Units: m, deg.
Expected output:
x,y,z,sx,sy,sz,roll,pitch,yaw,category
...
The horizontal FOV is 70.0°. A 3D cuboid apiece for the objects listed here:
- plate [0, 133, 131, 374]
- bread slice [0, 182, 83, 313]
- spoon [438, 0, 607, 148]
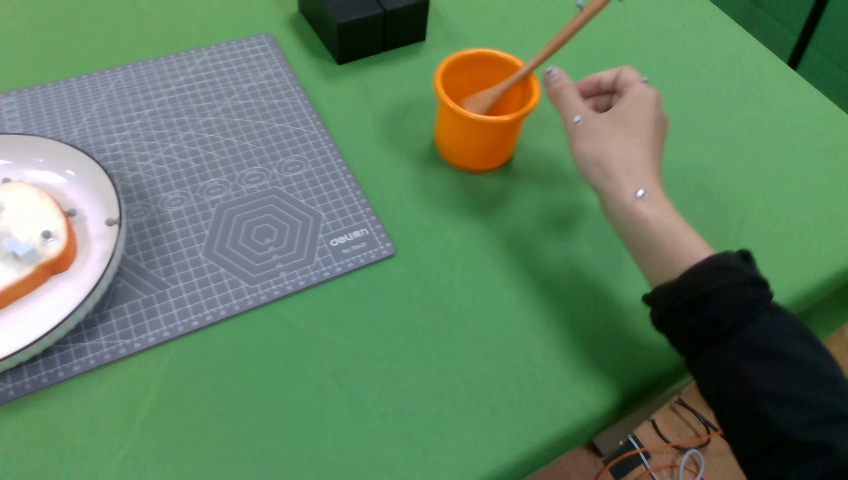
x,y,z,sx,sy,sz,roll,pitch,yaw,category
-0.317,0.011,0.432,0.209,0.038,0.207,4,56,-5,plate
-0.322,0.009,0.436,0.131,0.019,0.104,-36,67,-25,bread slice
0.083,-0.149,0.519,0.194,0.022,0.041,-38,58,17,spoon
